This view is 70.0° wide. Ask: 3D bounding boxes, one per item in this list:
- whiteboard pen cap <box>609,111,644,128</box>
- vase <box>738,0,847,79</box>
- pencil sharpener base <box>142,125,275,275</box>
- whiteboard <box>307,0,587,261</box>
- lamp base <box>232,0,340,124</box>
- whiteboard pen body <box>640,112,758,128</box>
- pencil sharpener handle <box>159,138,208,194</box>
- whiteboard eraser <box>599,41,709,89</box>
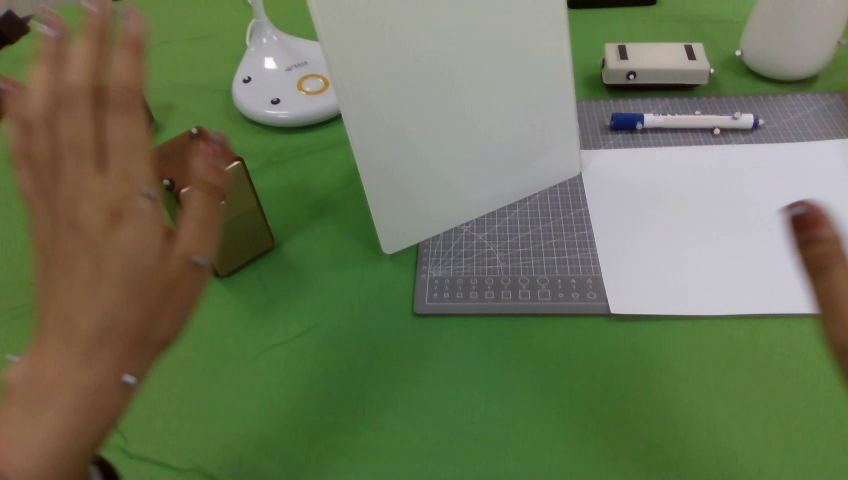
[{"bbox_3d":[0.213,-0.126,0.636,0.033,0.018,0.018,3,47,5],"label":"whiteboard pen cap"},{"bbox_3d":[0.405,-0.272,0.632,0.098,0.202,0.097,-2,47,3],"label":"vase"},{"bbox_3d":[-0.187,-0.035,0.532,0.061,0.108,0.076,-36,53,-25],"label":"pencil sharpener base"},{"bbox_3d":[0.003,-0.177,0.549,0.217,0.308,0.142,-23,30,-14],"label":"whiteboard"},{"bbox_3d":[-0.164,-0.248,0.679,0.177,0.182,0.160,32,58,33],"label":"lamp base"},{"bbox_3d":[0.272,-0.125,0.630,0.140,0.017,0.017,1,47,7],"label":"whiteboard pen body"},{"bbox_3d":[-0.221,-0.070,0.551,0.036,0.068,0.030,-41,55,-18],"label":"pencil sharpener handle"},{"bbox_3d":[0.257,-0.197,0.685,0.112,0.042,0.055,0,45,7],"label":"whiteboard eraser"}]
